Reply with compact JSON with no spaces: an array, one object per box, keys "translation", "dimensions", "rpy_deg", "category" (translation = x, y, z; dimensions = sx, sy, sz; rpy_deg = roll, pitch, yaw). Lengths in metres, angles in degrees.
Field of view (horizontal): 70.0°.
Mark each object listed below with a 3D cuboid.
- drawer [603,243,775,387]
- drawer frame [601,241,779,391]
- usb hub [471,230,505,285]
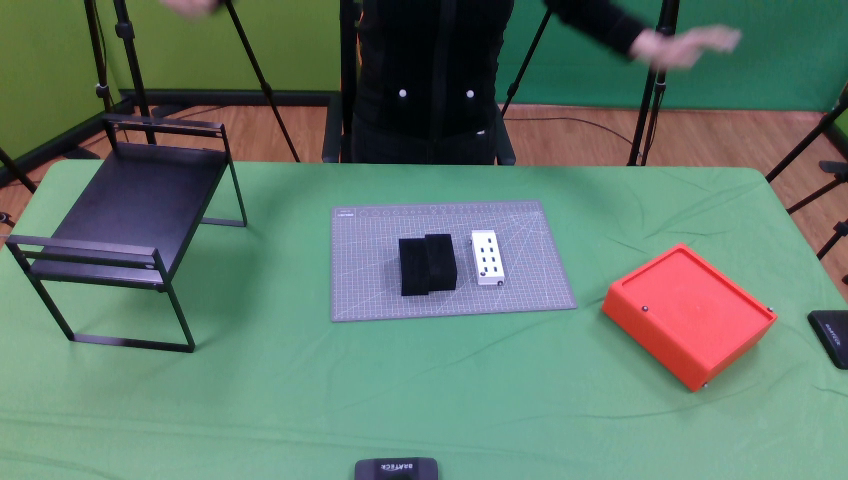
[{"translation":[0.461,0.125,1.068],"dimensions":[0.194,0.073,0.210],"rpy_deg":[-25,53,-26],"category":"drawer"},{"translation":[0.462,0.125,1.066],"dimensions":[0.202,0.083,0.212],"rpy_deg":[-26,54,-26],"category":"drawer frame"},{"translation":[0.121,0.032,1.168],"dimensions":[0.049,0.025,0.124],"rpy_deg":[-2,46,-5],"category":"usb hub"}]
